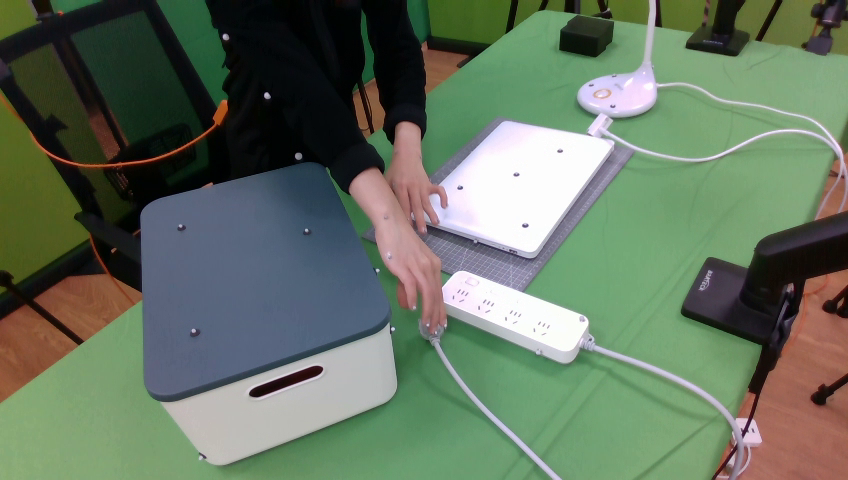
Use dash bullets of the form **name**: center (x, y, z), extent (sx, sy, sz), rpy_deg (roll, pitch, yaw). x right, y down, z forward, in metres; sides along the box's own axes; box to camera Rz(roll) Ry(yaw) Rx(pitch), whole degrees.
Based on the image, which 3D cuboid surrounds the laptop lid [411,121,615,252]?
- **laptop lid**: center (0.164, -0.112, 1.068), extent (0.240, 0.013, 0.357), rpy_deg (19, 46, 31)

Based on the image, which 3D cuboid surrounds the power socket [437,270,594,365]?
- **power socket**: center (0.118, 0.103, 0.830), extent (0.225, 0.033, 0.072), rpy_deg (21, 49, 28)

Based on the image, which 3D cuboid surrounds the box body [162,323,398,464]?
- **box body**: center (-0.205, 0.080, 0.802), extent (0.255, 0.161, 0.361), rpy_deg (-18, 41, -13)

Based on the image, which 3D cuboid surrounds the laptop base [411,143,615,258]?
- **laptop base**: center (0.167, -0.102, 1.074), extent (0.234, 0.023, 0.355), rpy_deg (16, 45, 30)

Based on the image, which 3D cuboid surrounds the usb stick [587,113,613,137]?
- **usb stick**: center (0.329, -0.210, 1.149), extent (0.022, 0.059, 0.027), rpy_deg (29, 19, -27)

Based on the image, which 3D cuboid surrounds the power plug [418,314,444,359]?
- **power plug**: center (0.008, 0.132, 0.805), extent (0.035, 0.053, 0.072), rpy_deg (0, 57, 6)

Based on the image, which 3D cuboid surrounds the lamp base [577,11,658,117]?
- **lamp base**: center (0.407, -0.365, 1.223), extent (0.180, 0.181, 0.159), rpy_deg (-20, 42, -18)

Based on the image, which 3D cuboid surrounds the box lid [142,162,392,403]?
- **box lid**: center (-0.212, 0.025, 0.752), extent (0.264, 0.015, 0.368), rpy_deg (-17, 41, -13)
